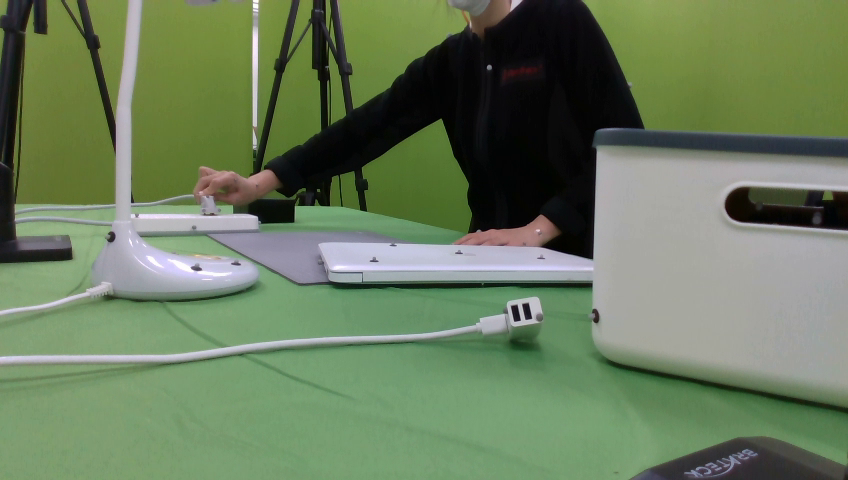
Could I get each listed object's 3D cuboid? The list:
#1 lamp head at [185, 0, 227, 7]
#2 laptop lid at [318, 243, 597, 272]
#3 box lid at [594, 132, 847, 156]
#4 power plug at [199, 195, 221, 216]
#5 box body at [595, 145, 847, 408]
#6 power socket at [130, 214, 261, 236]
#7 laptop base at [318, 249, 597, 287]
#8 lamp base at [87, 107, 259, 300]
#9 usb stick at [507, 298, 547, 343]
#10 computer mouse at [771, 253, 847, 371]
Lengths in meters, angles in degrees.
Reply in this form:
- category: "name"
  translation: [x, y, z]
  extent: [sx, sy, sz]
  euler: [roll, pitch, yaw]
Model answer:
- category: "lamp head"
  translation: [-0.229, -0.320, 0.627]
  extent: [0.112, 0.112, 0.123]
  euler: [6, -35, 26]
- category: "laptop lid"
  translation: [0.046, 0.022, 0.789]
  extent: [0.358, 0.013, 0.241]
  euler: [1, 6, -12]
- category: "box lid"
  translation: [0.311, -0.066, 0.499]
  extent: [0.262, 0.015, 0.373]
  euler: [7, 8, 29]
- category: "power plug"
  translation: [-0.386, -0.054, 1.089]
  extent: [0.035, 0.052, 0.072]
  euler: [-1, 4, -22]
- category: "box body"
  translation: [0.309, 0.007, 0.510]
  extent: [0.253, 0.160, 0.366]
  euler: [6, 8, 29]
- category: "power socket"
  translation: [-0.397, -0.028, 1.048]
  extent: [0.228, 0.032, 0.072]
  euler: [-3, 8, -34]
- category: "laptop base"
  translation: [0.046, 0.034, 0.789]
  extent: [0.355, 0.023, 0.235]
  euler: [1, 5, -14]
- category: "lamp base"
  translation: [-0.254, -0.039, 0.603]
  extent: [0.160, 0.180, 0.179]
  euler: [5, 10, 18]
- category: "usb stick"
  translation: [0.079, 0.065, 0.470]
  extent: [0.027, 0.021, 0.059]
  euler: [-11, -24, 4]
- category: "computer mouse"
  translation: [0.344, 0.057, 0.518]
  extent: [0.063, 0.041, 0.117]
  euler: [13, 48, 3]
